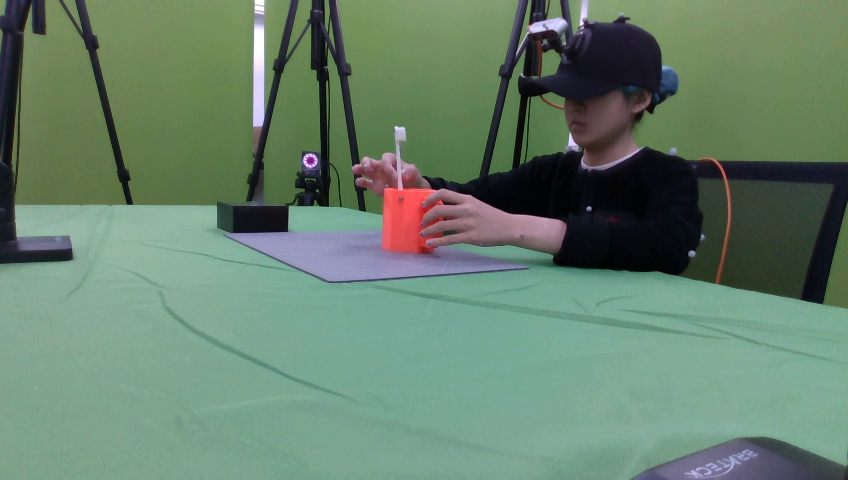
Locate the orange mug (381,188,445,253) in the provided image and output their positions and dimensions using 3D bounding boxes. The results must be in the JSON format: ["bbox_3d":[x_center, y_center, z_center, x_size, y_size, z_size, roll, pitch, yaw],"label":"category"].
[{"bbox_3d":[-0.013,-0.031,0.942,0.084,0.100,0.125,-2,4,-38],"label":"orange mug"}]

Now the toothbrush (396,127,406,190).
[{"bbox_3d":[-0.035,-0.087,0.956,0.017,0.182,0.014,-4,20,-10],"label":"toothbrush"}]
